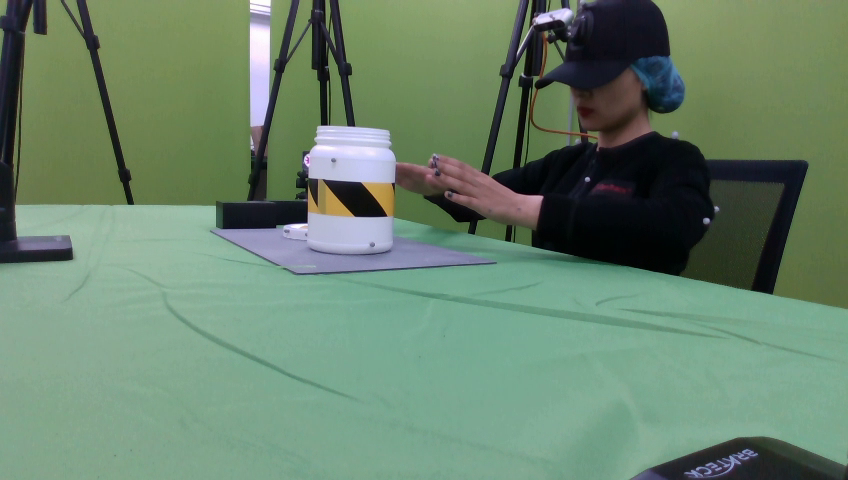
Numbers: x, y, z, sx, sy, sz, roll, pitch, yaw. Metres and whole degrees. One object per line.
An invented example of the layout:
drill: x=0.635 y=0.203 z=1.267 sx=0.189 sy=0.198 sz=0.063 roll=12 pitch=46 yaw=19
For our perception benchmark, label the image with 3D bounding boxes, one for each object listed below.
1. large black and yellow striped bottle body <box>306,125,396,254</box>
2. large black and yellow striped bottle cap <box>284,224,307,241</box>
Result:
large black and yellow striped bottle body: x=-0.109 y=-0.077 z=0.913 sx=0.131 sy=0.184 sz=0.130 roll=3 pitch=8 yaw=0
large black and yellow striped bottle cap: x=-0.186 y=-0.014 z=1.055 sx=0.115 sy=0.019 sz=0.115 roll=1 pitch=8 yaw=0
